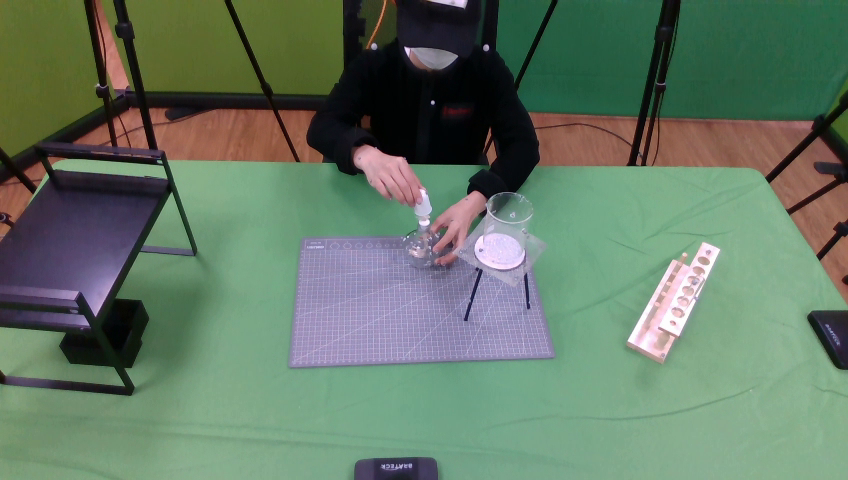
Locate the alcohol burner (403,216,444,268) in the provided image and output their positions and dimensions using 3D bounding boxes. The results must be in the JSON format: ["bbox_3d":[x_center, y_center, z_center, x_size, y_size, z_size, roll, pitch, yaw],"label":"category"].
[{"bbox_3d":[-0.001,-0.004,1.132,0.078,0.120,0.077,1,47,0],"label":"alcohol burner"}]

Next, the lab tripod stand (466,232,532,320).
[{"bbox_3d":[0.125,0.059,1.065,0.148,0.132,0.147,1,45,0],"label":"lab tripod stand"}]

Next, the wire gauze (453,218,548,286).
[{"bbox_3d":[0.129,0.014,1.019,0.124,0.011,0.121,26,47,25],"label":"wire gauze"}]

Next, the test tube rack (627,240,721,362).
[{"bbox_3d":[0.452,0.098,1.087,0.066,0.085,0.242,28,51,22],"label":"test tube rack"}]

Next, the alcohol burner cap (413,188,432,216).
[{"bbox_3d":[-0.005,-0.069,1.066,0.034,0.048,0.033,-5,43,5],"label":"alcohol burner cap"}]

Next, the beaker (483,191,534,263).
[{"bbox_3d":[0.135,-0.020,0.983,0.073,0.101,0.084,28,50,23],"label":"beaker"}]

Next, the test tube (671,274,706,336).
[{"bbox_3d":[0.429,0.112,1.004,0.017,0.151,0.017,4,43,-4],"label":"test tube"}]
